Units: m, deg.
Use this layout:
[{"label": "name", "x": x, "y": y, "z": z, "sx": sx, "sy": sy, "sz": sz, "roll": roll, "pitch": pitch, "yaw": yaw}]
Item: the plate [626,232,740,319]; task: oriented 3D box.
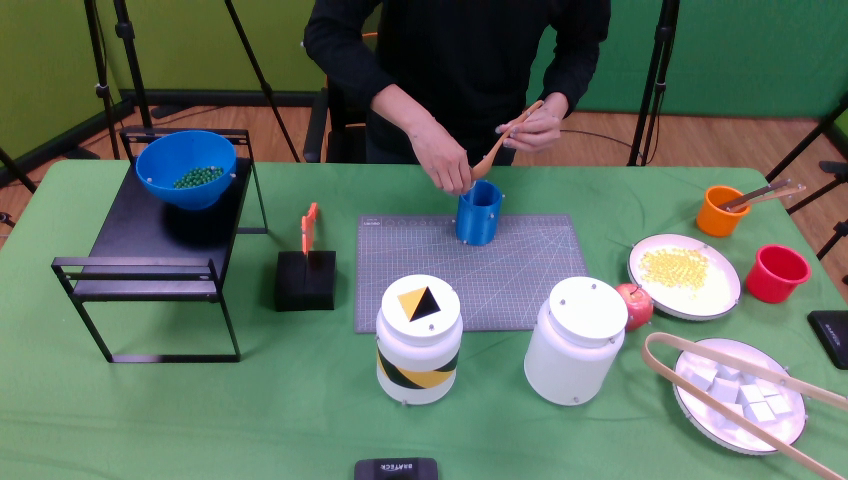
[{"label": "plate", "x": 0.489, "y": 0.070, "z": 1.157, "sx": 0.209, "sy": 0.038, "sz": 0.208, "roll": 3, "pitch": 46, "yaw": -3}]

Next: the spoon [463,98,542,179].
[{"label": "spoon", "x": 0.136, "y": -0.176, "z": 1.062, "sx": 0.042, "sy": 0.194, "sz": 0.021, "roll": 10, "pitch": 36, "yaw": -49}]

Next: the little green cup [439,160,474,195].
[{"label": "little green cup", "x": 0.058, "y": -0.114, "z": 1.124, "sx": 0.062, "sy": 0.038, "sz": 0.061, "roll": 15, "pitch": 63, "yaw": -31}]

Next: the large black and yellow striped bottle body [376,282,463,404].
[{"label": "large black and yellow striped bottle body", "x": -0.010, "y": 0.155, "z": 0.937, "sx": 0.131, "sy": 0.185, "sz": 0.130, "roll": 2, "pitch": 47, "yaw": -2}]

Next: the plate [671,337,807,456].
[{"label": "plate", "x": 0.504, "y": 0.254, "z": 0.984, "sx": 0.208, "sy": 0.039, "sz": 0.206, "roll": 2, "pitch": 46, "yaw": -2}]

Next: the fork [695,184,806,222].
[{"label": "fork", "x": 0.658, "y": -0.074, "z": 1.230, "sx": 0.207, "sy": 0.019, "sz": 0.028, "roll": -24, "pitch": 33, "yaw": 36}]

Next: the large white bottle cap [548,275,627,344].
[{"label": "large white bottle cap", "x": 0.240, "y": 0.100, "z": 0.890, "sx": 0.115, "sy": 0.018, "sz": 0.114, "roll": 3, "pitch": 47, "yaw": -3}]

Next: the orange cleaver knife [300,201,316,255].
[{"label": "orange cleaver knife", "x": -0.221, "y": -0.027, "z": 1.160, "sx": 0.012, "sy": 0.077, "sz": 0.210, "roll": -2, "pitch": 15, "yaw": -4}]

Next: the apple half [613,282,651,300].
[{"label": "apple half", "x": 0.356, "y": 0.109, "z": 1.086, "sx": 0.081, "sy": 0.075, "sz": 0.053, "roll": -13, "pitch": 44, "yaw": -12}]

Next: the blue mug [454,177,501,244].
[{"label": "blue mug", "x": 0.106, "y": -0.067, "z": 1.208, "sx": 0.082, "sy": 0.106, "sz": 0.116, "roll": 6, "pitch": 46, "yaw": 1}]

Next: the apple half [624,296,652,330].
[{"label": "apple half", "x": 0.368, "y": 0.135, "z": 1.060, "sx": 0.081, "sy": 0.081, "sz": 0.032, "roll": -11, "pitch": 43, "yaw": -15}]

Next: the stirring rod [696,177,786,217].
[{"label": "stirring rod", "x": 0.648, "y": -0.087, "z": 1.244, "sx": 0.176, "sy": 0.006, "sz": 0.014, "roll": -25, "pitch": 50, "yaw": 29}]

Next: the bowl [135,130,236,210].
[{"label": "bowl", "x": -0.375, "y": -0.102, "z": 0.977, "sx": 0.151, "sy": 0.077, "sz": 0.150, "roll": 2, "pitch": 47, "yaw": -2}]

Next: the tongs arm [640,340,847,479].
[{"label": "tongs arm", "x": 0.500, "y": 0.277, "z": 0.919, "sx": 0.386, "sy": 0.028, "sz": 0.028, "roll": 34, "pitch": 59, "yaw": 22}]

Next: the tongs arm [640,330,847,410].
[{"label": "tongs arm", "x": 0.543, "y": 0.225, "z": 0.969, "sx": 0.384, "sy": 0.026, "sz": 0.050, "roll": 22, "pitch": 52, "yaw": 13}]

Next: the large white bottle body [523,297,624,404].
[{"label": "large white bottle body", "x": 0.235, "y": 0.159, "z": 0.952, "sx": 0.131, "sy": 0.185, "sz": 0.130, "roll": 2, "pitch": 47, "yaw": -2}]

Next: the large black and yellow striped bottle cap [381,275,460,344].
[{"label": "large black and yellow striped bottle cap", "x": -0.005, "y": 0.098, "z": 0.875, "sx": 0.115, "sy": 0.019, "sz": 0.114, "roll": 2, "pitch": 45, "yaw": -2}]
